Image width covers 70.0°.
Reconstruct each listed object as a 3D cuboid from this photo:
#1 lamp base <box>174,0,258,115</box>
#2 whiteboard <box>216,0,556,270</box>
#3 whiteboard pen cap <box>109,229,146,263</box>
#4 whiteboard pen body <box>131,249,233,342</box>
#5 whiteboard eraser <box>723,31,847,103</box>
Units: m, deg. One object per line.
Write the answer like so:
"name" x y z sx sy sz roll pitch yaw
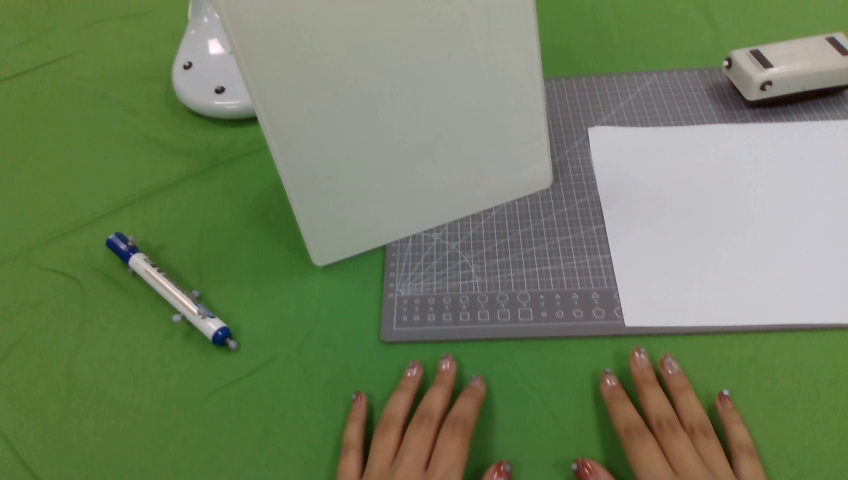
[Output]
"lamp base" -0.204 -0.243 0.599 0.177 0.182 0.160 32 61 30
"whiteboard" -0.036 -0.168 0.480 0.217 0.308 0.142 -19 33 -8
"whiteboard pen cap" -0.245 0.006 0.502 0.033 0.018 0.018 35 62 22
"whiteboard pen body" -0.199 0.036 0.479 0.139 0.017 0.017 33 62 24
"whiteboard eraser" 0.344 -0.158 0.563 0.113 0.042 0.055 -10 52 -2
